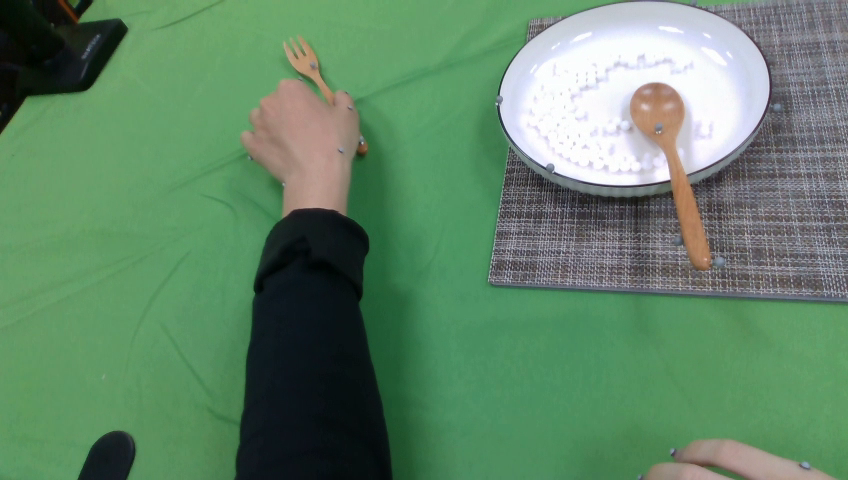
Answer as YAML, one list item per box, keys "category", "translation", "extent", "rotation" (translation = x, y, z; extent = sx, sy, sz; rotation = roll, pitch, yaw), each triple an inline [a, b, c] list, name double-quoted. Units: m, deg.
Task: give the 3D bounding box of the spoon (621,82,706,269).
- category: "spoon"
  translation: [0.172, -0.055, 0.433]
  extent: [0.041, 0.022, 0.192]
  rotation: [-3, 43, 10]

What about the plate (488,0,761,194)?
- category: "plate"
  translation: [0.158, -0.118, 0.498]
  extent: [0.207, 0.039, 0.205]
  rotation: [-8, 56, 12]

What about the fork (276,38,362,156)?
- category: "fork"
  translation: [-0.108, -0.148, 0.613]
  extent: [0.028, 0.019, 0.205]
  rotation: [-24, 52, -14]
